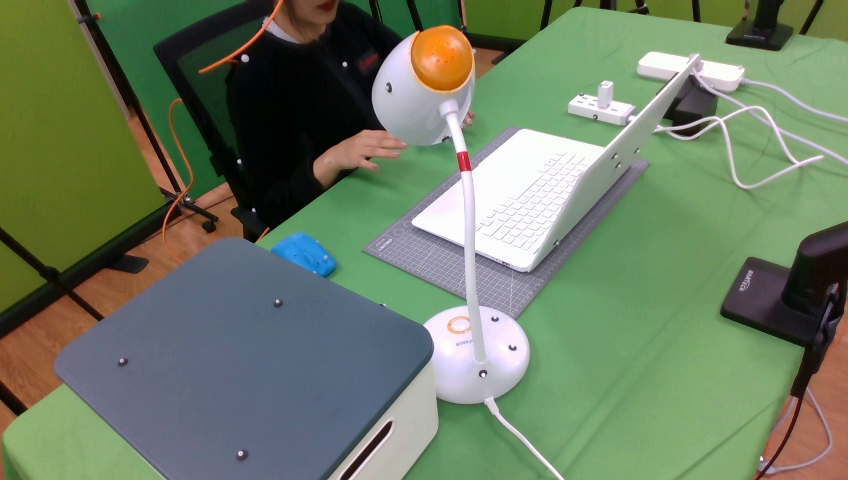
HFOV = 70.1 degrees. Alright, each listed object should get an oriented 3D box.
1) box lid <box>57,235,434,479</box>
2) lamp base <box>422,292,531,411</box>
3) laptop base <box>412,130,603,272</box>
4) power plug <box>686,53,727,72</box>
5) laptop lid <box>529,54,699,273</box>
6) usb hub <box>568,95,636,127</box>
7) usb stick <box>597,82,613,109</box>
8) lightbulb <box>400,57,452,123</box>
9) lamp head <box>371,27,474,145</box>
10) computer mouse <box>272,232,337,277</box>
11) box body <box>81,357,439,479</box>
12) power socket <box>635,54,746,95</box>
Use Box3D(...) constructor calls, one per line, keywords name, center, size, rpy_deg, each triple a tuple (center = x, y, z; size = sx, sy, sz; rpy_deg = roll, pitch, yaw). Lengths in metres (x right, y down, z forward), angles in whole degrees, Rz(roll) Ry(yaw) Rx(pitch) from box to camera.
Box3D(name="box lid", center=(-0.198, 0.123, 0.653), size=(0.368, 0.015, 0.264), rpy_deg=(22, 49, 32))
Box3D(name="lamp base", center=(0.054, 0.095, 0.740), size=(0.161, 0.181, 0.177), rpy_deg=(-19, 43, -11))
Box3D(name="laptop base", center=(0.176, -0.083, 1.055), size=(0.233, 0.023, 0.355), rpy_deg=(21, 48, 36))
Box3D(name="power plug", center=(0.584, -0.361, 1.260), size=(0.072, 0.053, 0.035), rpy_deg=(15, 55, 17))
Box3D(name="laptop lid", center=(0.283, -0.114, 0.897), size=(0.013, 0.242, 0.358), rpy_deg=(38, 55, 17))
Box3D(name="usb hub", center=(0.360, -0.263, 1.228), size=(0.124, 0.025, 0.049), rpy_deg=(24, 49, 33))
Box3D(name="usb stick", center=(0.360, -0.281, 1.204), size=(0.021, 0.059, 0.027), rpy_deg=(23, 49, 33))
Box3D(name="lightbulb", center=(0.003, -0.169, 0.668), size=(0.059, 0.108, 0.059), rpy_deg=(0, 79, -1))
Box3D(name="lamp head", center=(0.007, -0.167, 0.644), size=(0.113, 0.112, 0.122), rpy_deg=(-22, 2, -14))
Box3D(name="computer mouse", center=(-0.196, 0.026, 0.983), size=(0.063, 0.041, 0.116), rpy_deg=(-33, 49, -28))
Box3D(name="box body", center=(-0.189, 0.178, 0.702), size=(0.361, 0.161, 0.255), rpy_deg=(22, 49, 32))
Box3D(name="power socket", center=(0.564, -0.357, 1.293), size=(0.225, 0.033, 0.072), rpy_deg=(24, 51, 33))
